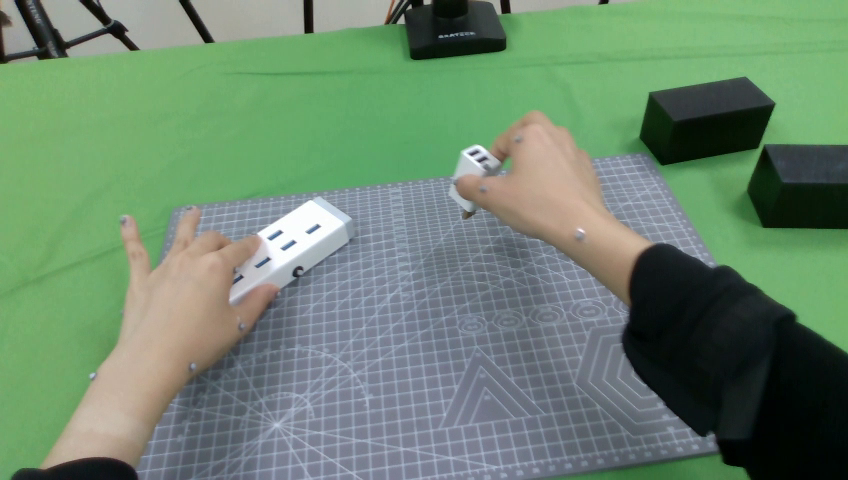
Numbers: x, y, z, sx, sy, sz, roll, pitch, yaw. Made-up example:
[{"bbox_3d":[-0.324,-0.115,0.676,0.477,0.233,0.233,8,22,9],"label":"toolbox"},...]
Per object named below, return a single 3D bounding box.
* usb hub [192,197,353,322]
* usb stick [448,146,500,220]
[{"bbox_3d":[-0.121,0.012,0.496,0.049,0.025,0.125,33,55,32],"label":"usb hub"},{"bbox_3d":[0.037,-0.042,0.474,0.021,0.059,0.027,-30,61,-35],"label":"usb stick"}]
